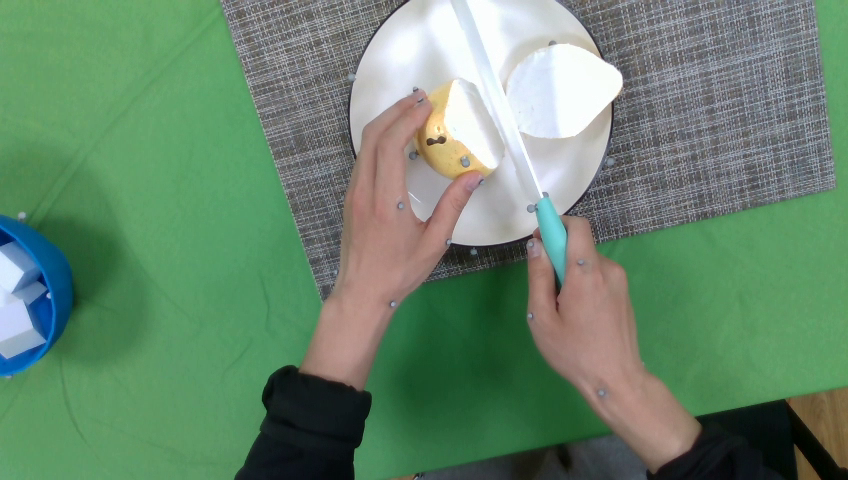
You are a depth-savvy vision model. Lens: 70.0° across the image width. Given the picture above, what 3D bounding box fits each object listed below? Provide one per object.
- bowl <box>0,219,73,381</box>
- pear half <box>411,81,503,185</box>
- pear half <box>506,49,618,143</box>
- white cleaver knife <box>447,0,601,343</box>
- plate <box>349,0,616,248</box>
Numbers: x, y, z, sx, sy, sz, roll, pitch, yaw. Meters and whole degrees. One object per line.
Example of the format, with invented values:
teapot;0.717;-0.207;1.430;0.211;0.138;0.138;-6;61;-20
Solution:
bowl;-0.381;0.044;0.552;0.151;0.076;0.152;1;105;6
pear half;0.014;-0.073;0.448;0.056;0.110;0.076;-28;91;28
pear half;0.108;-0.112;0.473;0.087;0.031;0.070;-3;102;25
white cleaver knife;0.078;-0.045;0.455;0.021;0.065;0.288;-23;109;1
plate;0.045;-0.098;0.489;0.207;0.039;0.208;1;105;6
